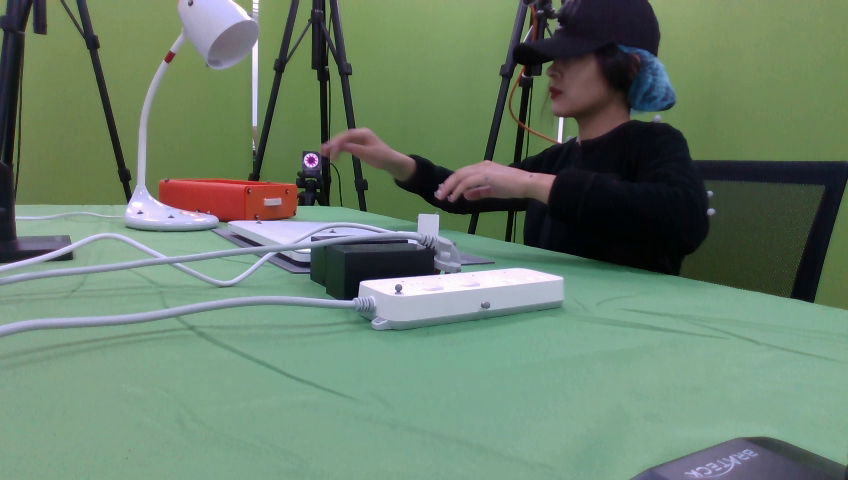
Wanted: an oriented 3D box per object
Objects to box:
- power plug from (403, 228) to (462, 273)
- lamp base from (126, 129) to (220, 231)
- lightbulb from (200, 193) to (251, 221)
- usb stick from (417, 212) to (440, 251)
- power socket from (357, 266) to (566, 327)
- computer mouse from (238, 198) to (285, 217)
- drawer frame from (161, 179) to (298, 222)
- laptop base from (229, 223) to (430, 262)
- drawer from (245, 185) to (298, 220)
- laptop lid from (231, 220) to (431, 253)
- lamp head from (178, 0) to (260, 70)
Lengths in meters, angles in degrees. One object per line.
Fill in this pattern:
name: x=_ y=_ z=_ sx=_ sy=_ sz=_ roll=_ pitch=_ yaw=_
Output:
power plug: x=0.006 y=0.016 z=0.647 sx=0.073 sy=0.052 sz=0.035 roll=17 pitch=12 yaw=-6
lamp base: x=-0.470 y=-0.111 z=1.105 sx=0.179 sy=0.180 sz=0.160 roll=1 pitch=7 yaw=6
lightbulb: x=-0.433 y=-0.078 z=1.319 sx=0.108 sy=0.059 sz=0.059 roll=-17 pitch=13 yaw=-16
usb stick: x=0.005 y=-0.003 z=0.721 sx=0.027 sy=0.059 sz=0.021 roll=0 pitch=-3 yaw=-3
power socket: x=0.042 y=0.049 z=0.573 sx=0.228 sy=0.032 sz=0.072 roll=-3 pitch=8 yaw=-34
computer mouse: x=-0.354 y=-0.072 z=1.326 sx=0.063 sy=0.041 sz=0.117 roll=3 pitch=2 yaw=11
drawer frame: x=-0.420 y=-0.089 z=1.328 sx=0.213 sy=0.082 sz=0.202 roll=4 pitch=8 yaw=18
laptop base: x=-0.145 y=0.002 z=0.943 sx=0.237 sy=0.023 sz=0.352 roll=2 pitch=6 yaw=-32
drawer: x=-0.416 y=-0.087 z=1.329 sx=0.211 sy=0.073 sz=0.195 roll=4 pitch=8 yaw=18
laptop lid: x=-0.142 y=-0.009 z=0.942 sx=0.243 sy=0.013 sz=0.355 roll=1 pitch=7 yaw=-31
lamp head: x=-0.365 y=-0.368 z=1.038 sx=0.123 sy=0.112 sz=0.112 roll=42 pitch=14 yaw=6
